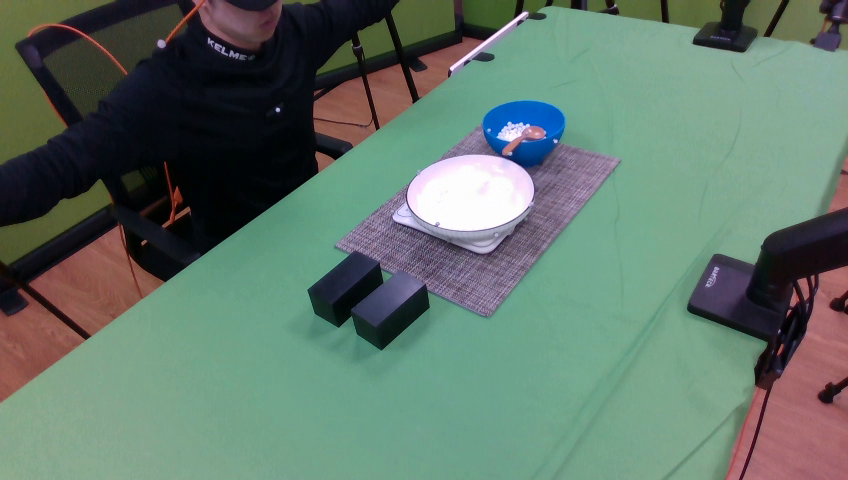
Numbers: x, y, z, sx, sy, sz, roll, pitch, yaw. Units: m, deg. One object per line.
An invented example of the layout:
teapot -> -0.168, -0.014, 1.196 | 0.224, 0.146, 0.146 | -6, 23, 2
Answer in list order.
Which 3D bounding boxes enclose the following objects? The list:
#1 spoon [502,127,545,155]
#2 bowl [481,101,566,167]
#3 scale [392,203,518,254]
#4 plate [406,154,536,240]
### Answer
spoon -> 0.169, -0.173, 1.046 | 0.041, 0.021, 0.194 | 21, 25, 20
bowl -> 0.182, -0.186, 1.111 | 0.151, 0.077, 0.150 | -4, 40, 4
scale -> 0.060, -0.051, 1.006 | 0.199, 0.032, 0.149 | 22, 48, 30
plate -> 0.075, -0.067, 0.973 | 0.209, 0.038, 0.208 | -4, 41, 4
